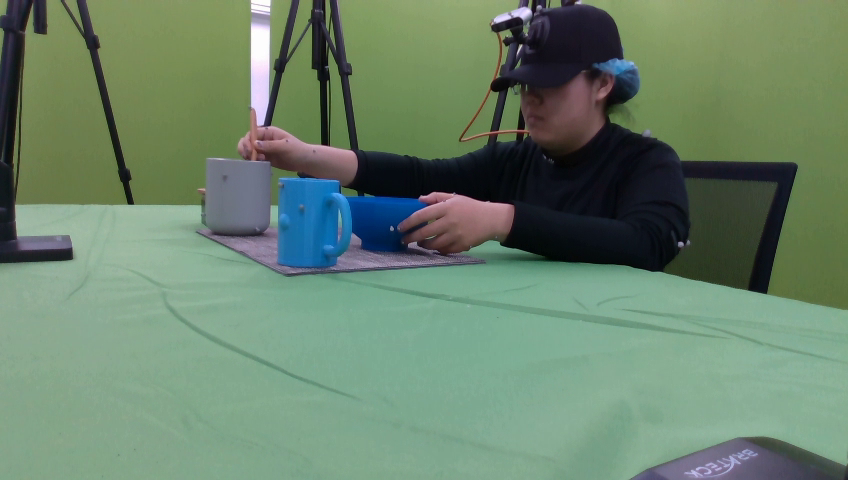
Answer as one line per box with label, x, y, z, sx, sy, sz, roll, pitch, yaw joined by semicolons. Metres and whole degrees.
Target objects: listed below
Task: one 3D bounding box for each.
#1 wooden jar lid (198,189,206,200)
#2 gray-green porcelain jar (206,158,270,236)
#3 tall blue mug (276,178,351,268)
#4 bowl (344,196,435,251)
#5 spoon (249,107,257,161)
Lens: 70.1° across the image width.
wooden jar lid;-0.382;-0.088;1.175;0.108;0.020;0.108;3;8;0
gray-green porcelain jar;-0.317;-0.074;1.031;0.106;0.126;0.106;3;7;0
tall blue mug;-0.134;-0.022;0.766;0.107;0.108;0.078;4;6;12
bowl;-0.061;-0.026;0.943;0.151;0.077;0.151;3;7;0
spoon;-0.297;-0.136;1.040;0.021;0.193;0.042;-2;-10;30
